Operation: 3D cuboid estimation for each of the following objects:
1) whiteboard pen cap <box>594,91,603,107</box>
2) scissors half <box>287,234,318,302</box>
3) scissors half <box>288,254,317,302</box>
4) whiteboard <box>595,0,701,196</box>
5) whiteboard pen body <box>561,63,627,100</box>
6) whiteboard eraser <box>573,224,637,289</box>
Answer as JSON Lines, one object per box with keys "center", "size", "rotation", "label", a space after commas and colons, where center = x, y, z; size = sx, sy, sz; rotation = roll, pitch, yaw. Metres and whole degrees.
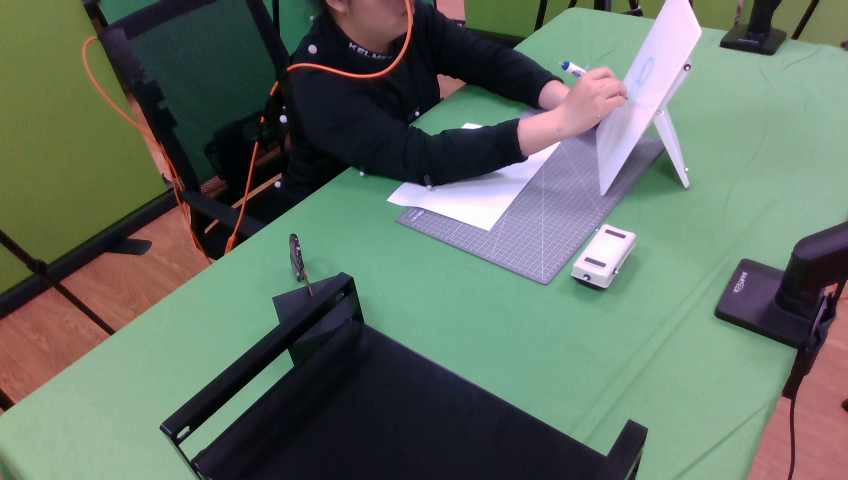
{"center": [0.364, -0.294, 1.262], "size": [0.018, 0.033, 0.018], "rotation": [-5, 41, 5], "label": "whiteboard pen cap"}
{"center": [-0.178, 0.040, 0.885], "size": [0.013, 0.040, 0.173], "rotation": [-11, 37, -21], "label": "scissors half"}
{"center": [-0.178, 0.058, 0.894], "size": [0.013, 0.040, 0.174], "rotation": [-16, 21, -18], "label": "scissors half"}
{"center": [0.421, -0.227, 1.010], "size": [0.144, 0.305, 0.216], "rotation": [18, 42, -2], "label": "whiteboard"}
{"center": [0.292, -0.266, 1.026], "size": [0.142, 0.017, 0.017], "rotation": [19, 34, -23], "label": "whiteboard pen body"}
{"center": [0.267, 0.025, 0.891], "size": [0.055, 0.042, 0.113], "rotation": [19, 47, 31], "label": "whiteboard eraser"}
